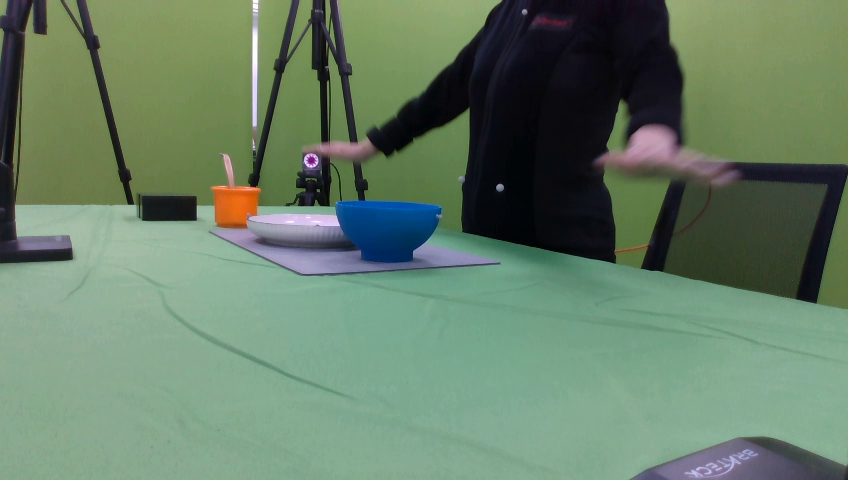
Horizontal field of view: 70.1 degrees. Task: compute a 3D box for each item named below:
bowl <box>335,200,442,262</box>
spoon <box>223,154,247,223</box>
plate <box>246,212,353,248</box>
[{"bbox_3d":[-0.051,-0.013,0.848,0.151,0.077,0.151,3,7,0],"label":"bowl"},{"bbox_3d":[-0.381,-0.104,1.202,0.042,0.193,0.021,0,-37,-27],"label":"spoon"},{"bbox_3d":[-0.184,-0.017,0.995,0.209,0.038,0.209,3,8,0],"label":"plate"}]
